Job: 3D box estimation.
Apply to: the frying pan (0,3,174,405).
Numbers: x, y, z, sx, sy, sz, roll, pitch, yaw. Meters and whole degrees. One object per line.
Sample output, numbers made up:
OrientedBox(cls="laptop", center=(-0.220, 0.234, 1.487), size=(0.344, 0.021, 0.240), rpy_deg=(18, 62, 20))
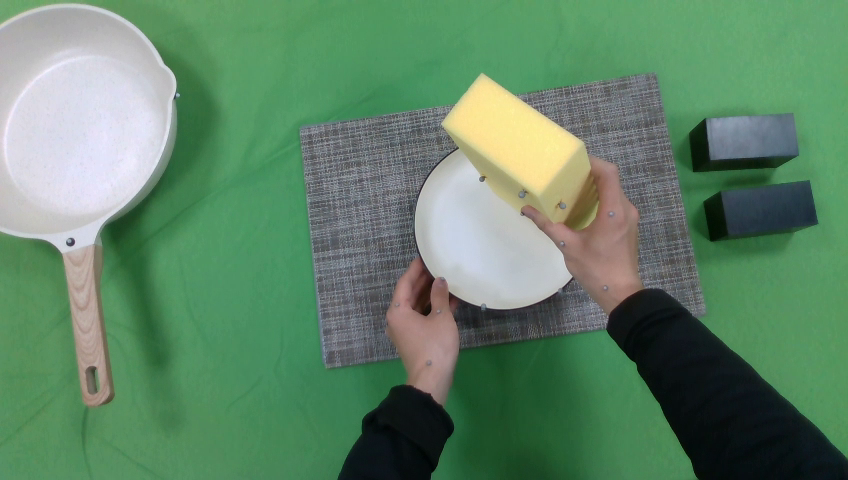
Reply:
OrientedBox(cls="frying pan", center=(-0.415, -0.046, 0.716), size=(0.307, 0.103, 0.484), rpy_deg=(-16, 73, 2))

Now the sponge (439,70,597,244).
OrientedBox(cls="sponge", center=(0.106, -0.074, 0.618), size=(0.117, 0.208, 0.061), rpy_deg=(40, 92, 24))

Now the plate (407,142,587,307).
OrientedBox(cls="plate", center=(0.084, -0.023, 0.715), size=(0.207, 0.039, 0.207), rpy_deg=(0, 82, 3))
